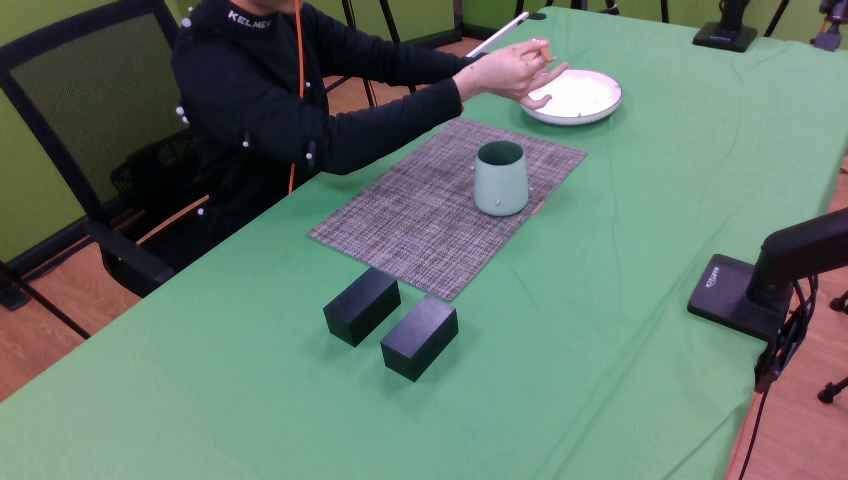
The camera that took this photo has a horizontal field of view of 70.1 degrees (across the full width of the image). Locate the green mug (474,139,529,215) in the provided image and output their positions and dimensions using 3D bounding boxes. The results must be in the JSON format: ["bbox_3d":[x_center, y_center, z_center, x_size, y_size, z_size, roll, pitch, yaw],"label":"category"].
[{"bbox_3d":[0.126,-0.113,1.013,0.092,0.105,0.124,-8,41,-1],"label":"green mug"}]

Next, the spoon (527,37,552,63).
[{"bbox_3d":[0.202,-0.329,1.044,0.041,0.022,0.193,-6,23,9],"label":"spoon"}]

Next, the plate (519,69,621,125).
[{"bbox_3d":[0.300,-0.293,1.253,0.209,0.038,0.208,-4,41,4],"label":"plate"}]
